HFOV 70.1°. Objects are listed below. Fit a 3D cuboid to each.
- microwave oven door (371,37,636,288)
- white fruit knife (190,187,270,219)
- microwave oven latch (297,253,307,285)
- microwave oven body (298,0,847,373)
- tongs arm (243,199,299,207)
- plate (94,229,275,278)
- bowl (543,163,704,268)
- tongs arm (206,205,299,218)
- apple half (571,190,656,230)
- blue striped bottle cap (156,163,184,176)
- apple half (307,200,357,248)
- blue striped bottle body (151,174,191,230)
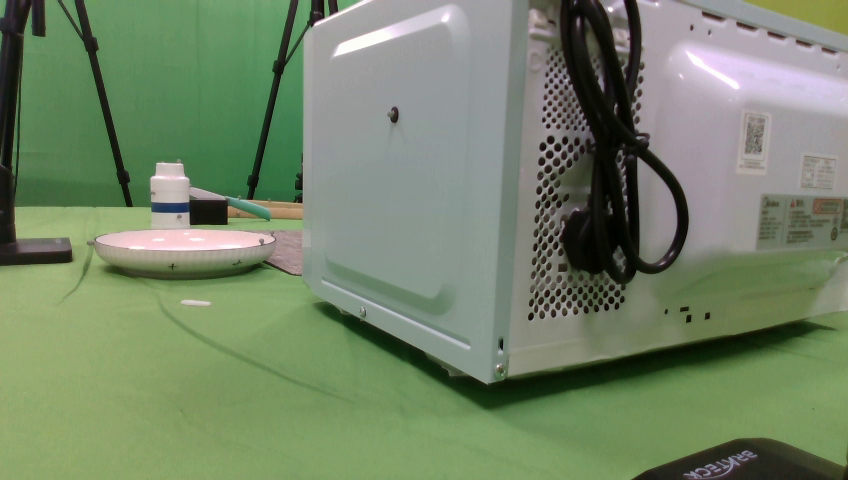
[{"bbox_3d":[0.109,-0.080,0.686,0.358,0.243,0.039,-2,9,-33],"label":"microwave oven door"},{"bbox_3d":[-0.413,-0.081,1.270,0.208,0.027,0.016,17,14,-41],"label":"white fruit knife"},{"bbox_3d":[-0.082,0.027,0.582,0.079,0.029,0.030,-1,7,-33],"label":"microwave oven latch"},{"bbox_3d":[0.151,-0.055,0.542,0.444,0.260,0.324,-1,7,-33],"label":"microwave oven body"},{"bbox_3d":[-0.309,-0.079,1.487,0.385,0.026,0.050,3,7,-1],"label":"tongs arm"},{"bbox_3d":[-0.291,0.016,0.749,0.208,0.039,0.207,2,7,0],"label":"plate"},{"bbox_3d":[0.181,-0.021,0.584,0.151,0.077,0.151,13,7,-1],"label":"bowl"},{"bbox_3d":[-0.302,-0.065,1.406,0.389,0.028,0.028,1,4,-15],"label":"tongs arm"},{"bbox_3d":[0.182,-0.031,0.583,0.081,0.033,0.081,12,-4,1],"label":"apple half"},{"bbox_3d":[-0.438,-0.122,1.045,0.044,0.020,0.044,5,6,0],"label":"blue striped bottle cap"},{"bbox_3d":[-0.135,-0.024,0.941,0.053,0.074,0.081,13,8,38],"label":"apple half"},{"bbox_3d":[-0.439,-0.071,1.052,0.063,0.120,0.063,2,7,0],"label":"blue striped bottle body"}]
